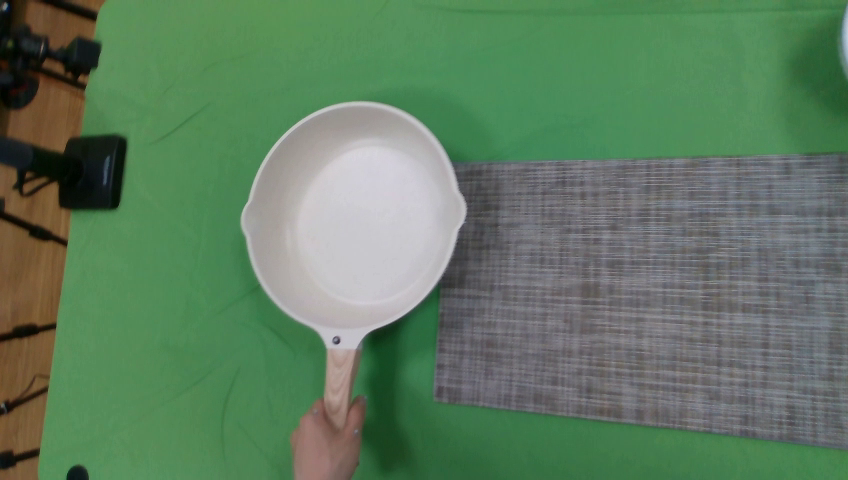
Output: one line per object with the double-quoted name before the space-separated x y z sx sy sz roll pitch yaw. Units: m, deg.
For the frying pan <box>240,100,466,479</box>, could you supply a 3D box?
"frying pan" -0.096 0.072 0.746 0.305 0.103 0.485 0 74 20
